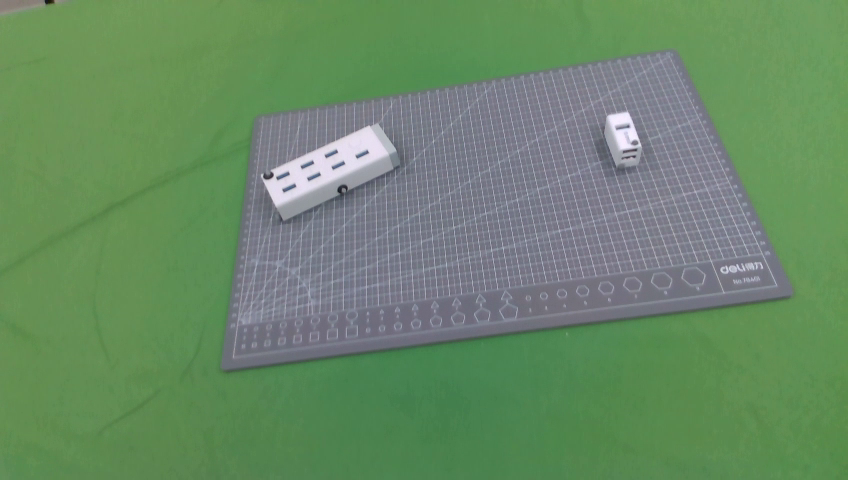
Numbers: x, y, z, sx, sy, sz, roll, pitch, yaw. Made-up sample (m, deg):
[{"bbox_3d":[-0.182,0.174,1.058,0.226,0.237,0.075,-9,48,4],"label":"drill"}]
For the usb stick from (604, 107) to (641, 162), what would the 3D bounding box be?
[{"bbox_3d":[0.180,-0.102,0.554,0.021,0.027,0.058,-9,53,5],"label":"usb stick"}]

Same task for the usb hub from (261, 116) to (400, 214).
[{"bbox_3d":[-0.090,-0.074,0.581,0.125,0.025,0.049,-26,55,-9],"label":"usb hub"}]
